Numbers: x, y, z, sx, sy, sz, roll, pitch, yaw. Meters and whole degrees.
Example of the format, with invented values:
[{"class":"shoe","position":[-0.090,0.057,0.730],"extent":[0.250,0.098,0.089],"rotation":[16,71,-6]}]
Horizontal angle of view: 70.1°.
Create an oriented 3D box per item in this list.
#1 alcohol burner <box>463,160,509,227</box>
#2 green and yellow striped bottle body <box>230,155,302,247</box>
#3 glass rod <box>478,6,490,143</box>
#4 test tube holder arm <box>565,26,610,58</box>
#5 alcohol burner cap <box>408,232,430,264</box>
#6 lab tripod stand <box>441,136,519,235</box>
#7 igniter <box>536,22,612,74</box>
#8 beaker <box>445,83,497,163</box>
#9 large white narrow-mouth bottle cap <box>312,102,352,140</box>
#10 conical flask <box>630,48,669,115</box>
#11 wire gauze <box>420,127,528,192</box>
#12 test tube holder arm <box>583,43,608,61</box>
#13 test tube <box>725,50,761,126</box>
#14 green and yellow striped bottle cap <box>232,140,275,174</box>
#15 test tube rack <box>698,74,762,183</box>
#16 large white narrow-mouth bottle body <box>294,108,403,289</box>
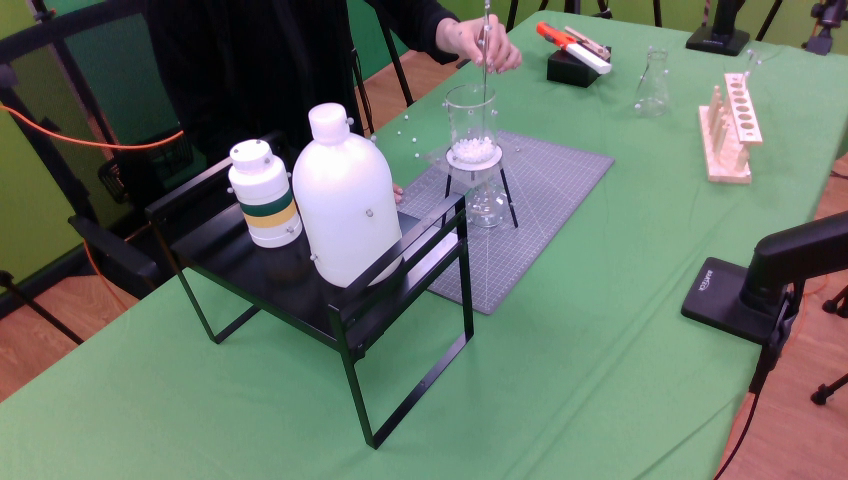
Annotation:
[{"class":"alcohol burner","position":[0.102,-0.081,0.982],"extent":[0.078,0.119,0.077],"rotation":[-4,43,4]},{"class":"green and yellow striped bottle body","position":[-0.188,-0.055,0.714],"extent":[0.063,0.120,0.063],"rotation":[-4,41,4]},{"class":"glass rod","position":[0.085,-0.230,0.864],"extent":[0.008,0.200,0.008],"rotation":[0,36,0]},{"class":"test tube holder arm","position":[0.369,-0.451,1.373],"extent":[0.013,0.015,0.177],"rotation":[-39,41,10]},{"class":"alcohol burner cap","position":[-0.009,0.010,0.947],"extent":[0.034,0.048,0.033],"rotation":[-4,41,4]},{"class":"lab tripod stand","position":[0.083,-0.086,0.976],"extent":[0.148,0.132,0.147],"rotation":[-4,42,4]},{"class":"igniter","position":[0.330,-0.438,1.366],"extent":[0.057,0.025,0.274],"rotation":[-11,41,-19]},{"class":"beaker","position":[0.073,-0.174,0.905],"extent":[0.074,0.101,0.084],"rotation":[3,42,13]},{"class":"large white narrow-mouth bottle cap","position":[-0.089,-0.114,0.579],"extent":[0.038,0.024,0.037],"rotation":[-4,39,3]},{"class":"conical flask","position":[0.456,-0.317,1.205],"extent":[0.075,0.122,0.075],"rotation":[-4,41,4]},{"class":"wire gauze","position":[0.076,-0.131,0.927],"extent":[0.122,0.011,0.124],"rotation":[-34,49,-25]},{"class":"test tube holder arm","position":[0.379,-0.420,1.341],"extent":[0.010,0.015,0.087],"rotation":[-39,41,10]},{"class":"test tube","position":[0.570,-0.269,1.086],"extent":[0.017,0.151,0.017],"rotation":[-1,45,1]},{"class":"green and yellow striped bottle cap","position":[-0.192,-0.093,0.680],"extent":[0.045,0.020,0.045],"rotation":[-5,39,5]},{"class":"test tube rack","position":[0.547,-0.208,1.095],"extent":[0.066,0.085,0.242],"rotation":[5,42,15]},{"class":"large white narrow-mouth bottle body","position":[-0.082,-0.047,0.634],"extent":[0.102,0.195,0.101],"rotation":[-4,39,4]}]
